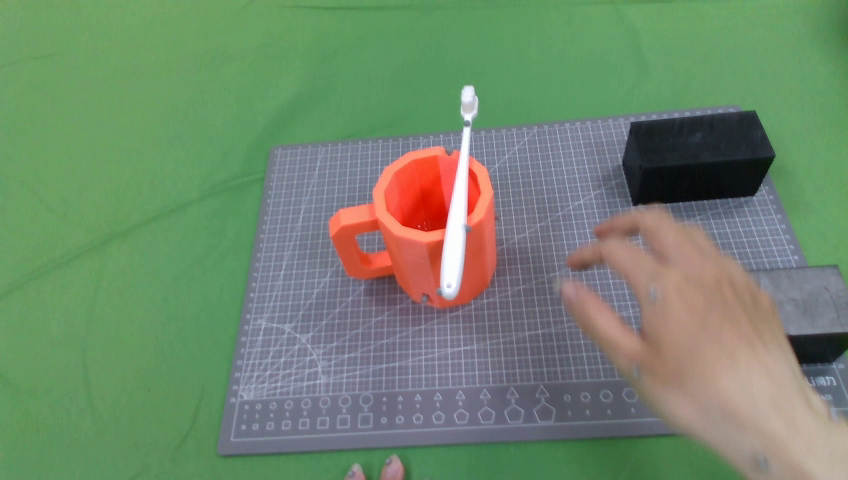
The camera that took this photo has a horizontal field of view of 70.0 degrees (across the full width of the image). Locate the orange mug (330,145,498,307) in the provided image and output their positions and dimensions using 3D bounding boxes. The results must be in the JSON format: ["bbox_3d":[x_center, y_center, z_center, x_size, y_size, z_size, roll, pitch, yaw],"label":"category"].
[{"bbox_3d":[-0.005,-0.006,0.465,0.126,0.102,0.082,-9,56,-3],"label":"orange mug"}]

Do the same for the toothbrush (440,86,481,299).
[{"bbox_3d":[0.027,-0.041,0.421,0.014,0.017,0.180,6,57,4],"label":"toothbrush"}]
